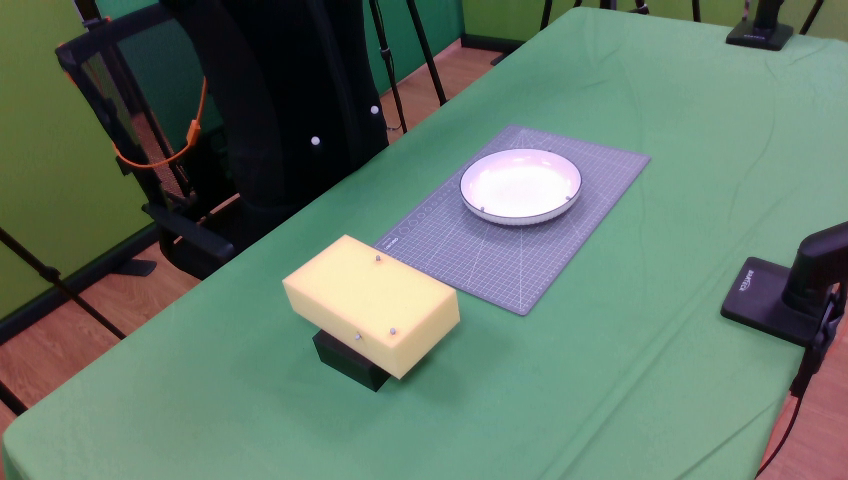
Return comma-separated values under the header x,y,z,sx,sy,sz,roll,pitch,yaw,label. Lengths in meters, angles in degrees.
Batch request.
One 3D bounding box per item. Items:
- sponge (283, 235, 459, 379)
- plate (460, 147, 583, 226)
x,y,z,sx,sy,sz,roll,pitch,yaw,label
-0.072,0.081,0.798,0.205,0.061,0.118,25,51,34,sponge
0.166,-0.089,1.043,0.209,0.038,0.208,-5,40,5,plate
